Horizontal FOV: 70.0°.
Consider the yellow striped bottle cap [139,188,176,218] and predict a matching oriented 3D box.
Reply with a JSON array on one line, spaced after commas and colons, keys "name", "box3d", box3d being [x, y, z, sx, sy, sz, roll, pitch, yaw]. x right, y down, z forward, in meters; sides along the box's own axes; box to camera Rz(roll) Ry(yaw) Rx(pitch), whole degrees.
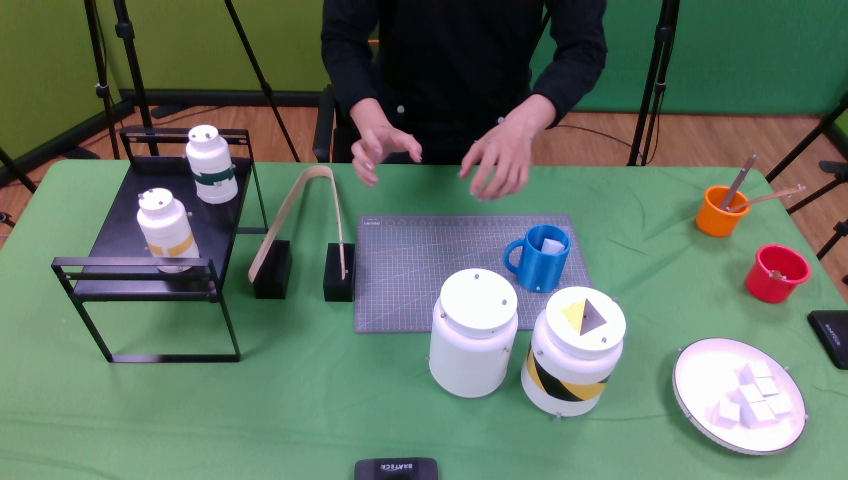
[{"name": "yellow striped bottle cap", "box3d": [-0.363, -0.051, 0.826, 0.044, 0.019, 0.044, 0, 48, 0]}]

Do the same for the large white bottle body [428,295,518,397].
[{"name": "large white bottle body", "box3d": [0.075, 0.147, 0.950, 0.131, 0.185, 0.130, 2, 47, -2]}]

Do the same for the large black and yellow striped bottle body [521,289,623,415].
[{"name": "large black and yellow striped bottle body", "box3d": [0.228, 0.173, 0.937, 0.131, 0.185, 0.130, 2, 47, -2]}]

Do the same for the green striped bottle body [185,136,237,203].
[{"name": "green striped bottle body", "box3d": [-0.341, -0.122, 0.969, 0.063, 0.120, 0.063, 2, 46, -2]}]

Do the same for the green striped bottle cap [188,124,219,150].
[{"name": "green striped bottle cap", "box3d": [-0.339, -0.158, 0.931, 0.044, 0.020, 0.044, 3, 46, -3]}]

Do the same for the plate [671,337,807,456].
[{"name": "plate", "box3d": [0.504, 0.253, 0.984, 0.208, 0.039, 0.206, 2, 46, -2]}]

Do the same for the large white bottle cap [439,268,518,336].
[{"name": "large white bottle cap", "box3d": [0.080, 0.089, 0.888, 0.115, 0.018, 0.114, 2, 47, -2]}]

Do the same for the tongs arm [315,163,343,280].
[{"name": "tongs arm", "box3d": [-0.187, -0.049, 1.170, 0.051, 0.026, 0.382, -6, 35, -6]}]

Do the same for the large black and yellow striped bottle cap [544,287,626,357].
[{"name": "large black and yellow striped bottle cap", "box3d": [0.232, 0.116, 0.876, 0.115, 0.019, 0.114, 2, 46, -1]}]

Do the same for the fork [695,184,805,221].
[{"name": "fork", "box3d": [0.657, -0.075, 1.230, 0.207, 0.019, 0.028, -23, 34, 37]}]

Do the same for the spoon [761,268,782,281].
[{"name": "spoon", "box3d": [0.638, 0.060, 1.105, 0.041, 0.021, 0.194, 38, 11, 24]}]

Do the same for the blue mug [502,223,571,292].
[{"name": "blue mug", "box3d": [0.203, 0.031, 1.121, 0.116, 0.106, 0.082, 5, 47, 1]}]

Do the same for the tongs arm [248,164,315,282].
[{"name": "tongs arm", "box3d": [-0.269, -0.047, 1.166, 0.028, 0.028, 0.385, -1, 34, 7]}]

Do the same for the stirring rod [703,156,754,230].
[{"name": "stirring rod", "box3d": [0.631, -0.098, 1.258, 0.014, 0.006, 0.176, 33, 95, 29]}]

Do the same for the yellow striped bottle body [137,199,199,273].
[{"name": "yellow striped bottle body", "box3d": [-0.366, -0.014, 0.863, 0.063, 0.121, 0.062, 2, 46, -2]}]
